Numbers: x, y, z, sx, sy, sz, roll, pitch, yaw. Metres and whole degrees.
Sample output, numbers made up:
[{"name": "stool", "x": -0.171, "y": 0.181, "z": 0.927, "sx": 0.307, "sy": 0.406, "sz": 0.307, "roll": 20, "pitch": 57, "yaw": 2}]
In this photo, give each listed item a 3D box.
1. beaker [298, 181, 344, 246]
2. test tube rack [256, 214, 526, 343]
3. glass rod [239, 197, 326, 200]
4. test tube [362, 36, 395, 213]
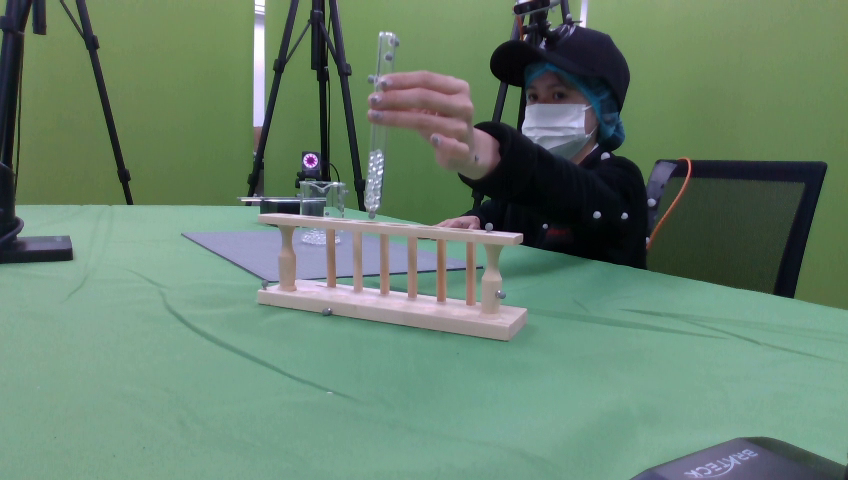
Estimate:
[{"name": "beaker", "x": -0.166, "y": -0.043, "z": 0.971, "sx": 0.074, "sy": 0.100, "sz": 0.084, "roll": 1, "pitch": 8, "yaw": -10}, {"name": "test tube rack", "x": -0.032, "y": 0.027, "z": 0.547, "sx": 0.241, "sy": 0.085, "sz": 0.067, "roll": 5, "pitch": 7, "yaw": 22}, {"name": "glass rod", "x": -0.287, "y": -0.086, "z": 1.250, "sx": 0.201, "sy": 0.008, "sz": 0.008, "roll": -4, "pitch": 10, "yaw": -42}, {"name": "test tube", "x": -0.040, "y": -0.097, "z": 0.518, "sx": 0.017, "sy": 0.150, "sz": 0.017, "roll": 6, "pitch": 8, "yaw": -1}]
